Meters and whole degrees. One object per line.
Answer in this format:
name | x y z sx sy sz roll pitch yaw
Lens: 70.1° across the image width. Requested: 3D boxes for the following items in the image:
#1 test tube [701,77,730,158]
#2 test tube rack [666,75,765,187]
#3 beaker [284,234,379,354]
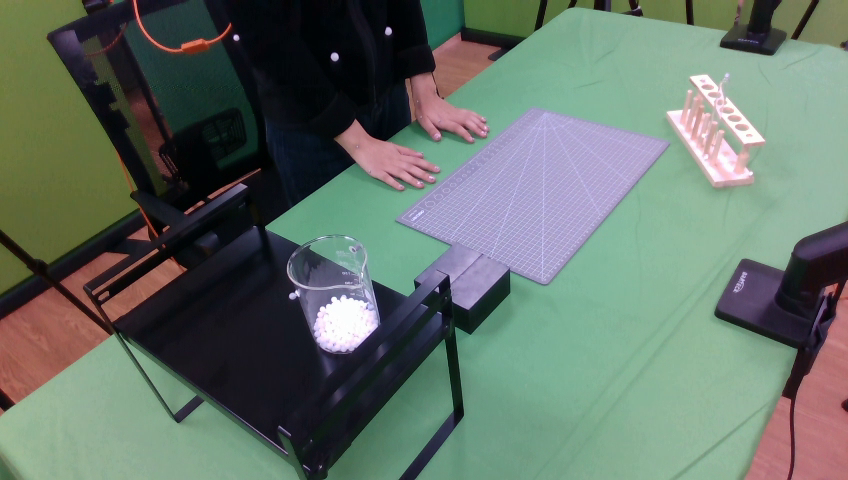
test tube | 0.491 -0.204 1.020 0.017 0.151 0.017 -4 41 4
test tube rack | 0.512 -0.201 1.082 0.067 0.085 0.241 -6 41 2
beaker | -0.083 0.056 0.585 0.083 0.101 0.074 28 52 33
